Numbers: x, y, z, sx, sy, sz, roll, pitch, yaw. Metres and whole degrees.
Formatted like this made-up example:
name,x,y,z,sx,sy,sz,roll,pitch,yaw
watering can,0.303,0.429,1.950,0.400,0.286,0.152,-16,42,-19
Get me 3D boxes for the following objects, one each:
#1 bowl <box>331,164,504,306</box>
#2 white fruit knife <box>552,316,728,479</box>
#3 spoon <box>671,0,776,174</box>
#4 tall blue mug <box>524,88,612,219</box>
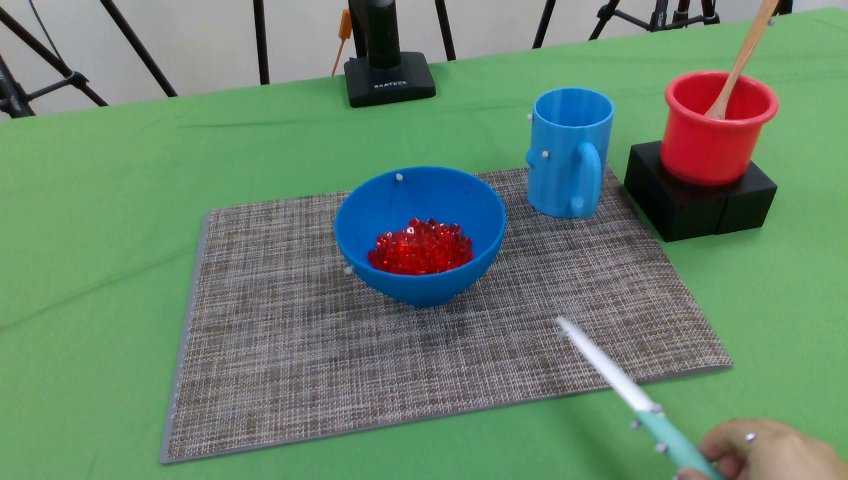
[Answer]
name,x,y,z,sx,sy,sz,roll,pitch,yaw
bowl,-0.003,0.007,0.550,0.151,0.077,0.150,-2,43,3
white fruit knife,0.152,0.119,0.408,0.027,0.016,0.205,1,34,-38
spoon,0.292,-0.151,0.580,0.041,0.022,0.194,27,96,32
tall blue mug,0.153,-0.080,0.608,0.078,0.109,0.106,-28,47,-24
